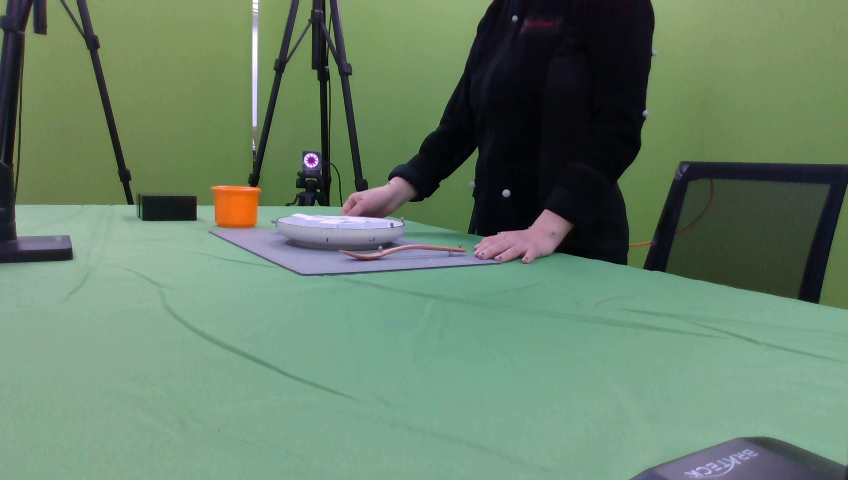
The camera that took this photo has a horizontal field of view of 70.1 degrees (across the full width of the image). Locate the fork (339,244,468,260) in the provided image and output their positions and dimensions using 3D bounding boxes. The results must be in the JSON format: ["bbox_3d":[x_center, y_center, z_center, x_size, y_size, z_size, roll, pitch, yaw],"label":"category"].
[{"bbox_3d":[-0.024,0.016,0.865,0.208,0.018,0.028,-4,4,-31],"label":"fork"}]

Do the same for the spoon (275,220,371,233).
[{"bbox_3d":[-0.183,-0.028,1.127,0.195,0.021,0.041,-4,23,-33],"label":"spoon"}]

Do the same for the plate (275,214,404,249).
[{"bbox_3d":[-0.135,-0.013,0.982,0.208,0.039,0.207,3,7,0],"label":"plate"}]
